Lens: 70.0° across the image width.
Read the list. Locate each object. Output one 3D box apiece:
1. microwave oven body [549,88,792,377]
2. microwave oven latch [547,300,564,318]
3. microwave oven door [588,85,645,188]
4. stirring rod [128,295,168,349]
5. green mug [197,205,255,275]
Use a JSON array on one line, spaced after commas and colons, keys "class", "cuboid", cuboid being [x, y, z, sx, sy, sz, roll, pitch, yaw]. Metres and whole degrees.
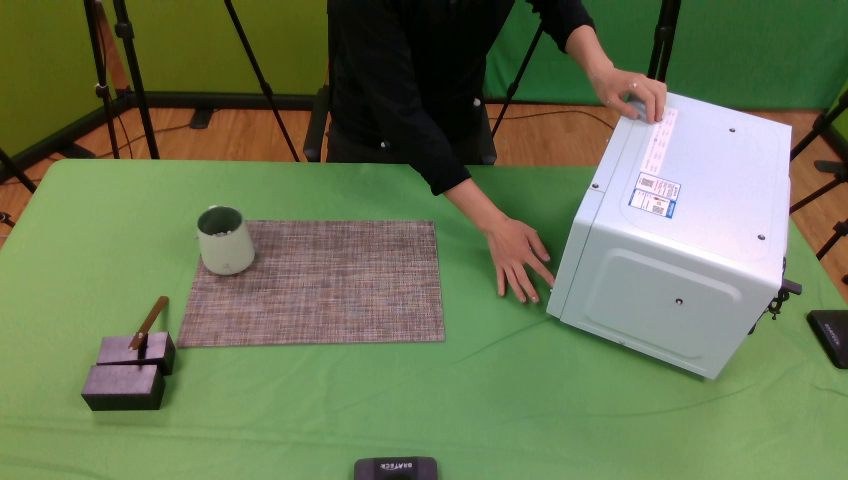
[{"class": "microwave oven body", "cuboid": [0.456, -0.028, 1.088, 0.325, 0.261, 0.440, 20, 47, 16]}, {"class": "microwave oven latch", "cuboid": [0.242, 0.102, 1.081, 0.030, 0.029, 0.079, 21, 48, 17]}, {"class": "microwave oven door", "cuboid": [0.342, -0.107, 1.149, 0.039, 0.245, 0.354, 21, 48, 15]}, {"class": "stirring rod", "cuboid": [-0.451, 0.131, 0.996, 0.014, 0.006, 0.175, 9, 20, -10]}, {"class": "green mug", "cuboid": [-0.370, -0.008, 1.114, 0.092, 0.105, 0.124, -19, 50, -20]}]
